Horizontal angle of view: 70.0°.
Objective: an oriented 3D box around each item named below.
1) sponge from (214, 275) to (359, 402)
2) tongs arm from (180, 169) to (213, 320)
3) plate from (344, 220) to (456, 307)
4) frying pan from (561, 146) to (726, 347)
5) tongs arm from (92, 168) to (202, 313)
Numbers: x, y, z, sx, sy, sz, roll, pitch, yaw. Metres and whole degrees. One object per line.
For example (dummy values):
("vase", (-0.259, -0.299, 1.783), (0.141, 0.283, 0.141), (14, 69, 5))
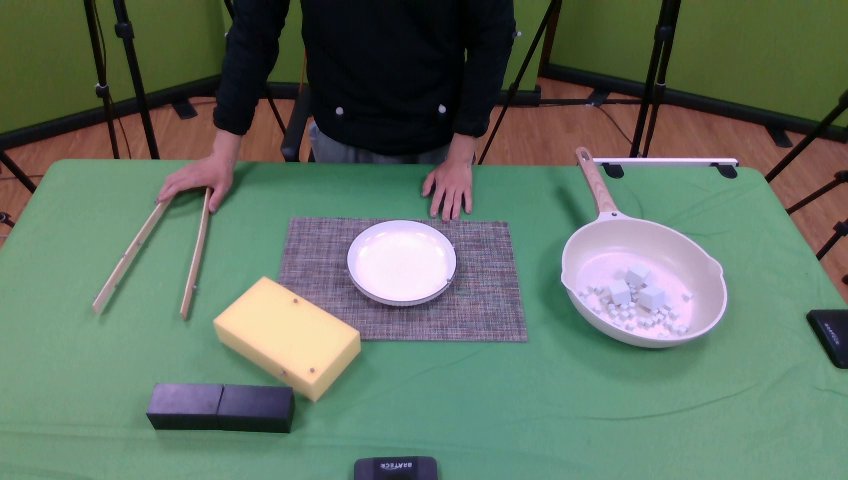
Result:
("sponge", (-0.224, 0.158, 0.998), (0.206, 0.061, 0.118), (27, 52, 18))
("tongs arm", (-0.438, -0.007, 1.165), (0.028, 0.028, 0.385), (-5, 46, -5))
("plate", (-0.044, 0.047, 1.133), (0.208, 0.039, 0.206), (3, 46, -2))
("frying pan", (0.378, -0.005, 1.175), (0.307, 0.103, 0.484), (-4, 55, -9))
("tongs arm", (-0.518, -0.013, 1.160), (0.051, 0.026, 0.382), (6, 45, 2))
